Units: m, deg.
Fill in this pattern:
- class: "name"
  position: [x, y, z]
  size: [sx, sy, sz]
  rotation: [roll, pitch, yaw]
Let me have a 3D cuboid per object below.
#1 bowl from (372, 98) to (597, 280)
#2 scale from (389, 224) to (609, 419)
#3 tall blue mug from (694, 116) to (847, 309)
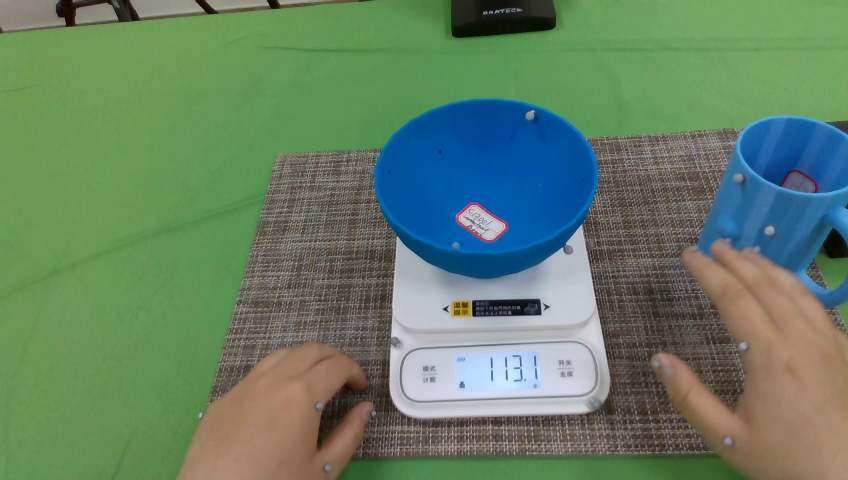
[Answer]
- class: "bowl"
  position: [0.042, -0.024, 0.434]
  size: [0.151, 0.077, 0.150]
  rotation: [-3, 50, 4]
- class: "scale"
  position: [0.050, 0.034, 0.455]
  size: [0.148, 0.032, 0.199]
  rotation: [-3, 51, 5]
- class: "tall blue mug"
  position: [0.254, -0.013, 0.417]
  size: [0.106, 0.109, 0.077]
  rotation: [31, 59, 28]
